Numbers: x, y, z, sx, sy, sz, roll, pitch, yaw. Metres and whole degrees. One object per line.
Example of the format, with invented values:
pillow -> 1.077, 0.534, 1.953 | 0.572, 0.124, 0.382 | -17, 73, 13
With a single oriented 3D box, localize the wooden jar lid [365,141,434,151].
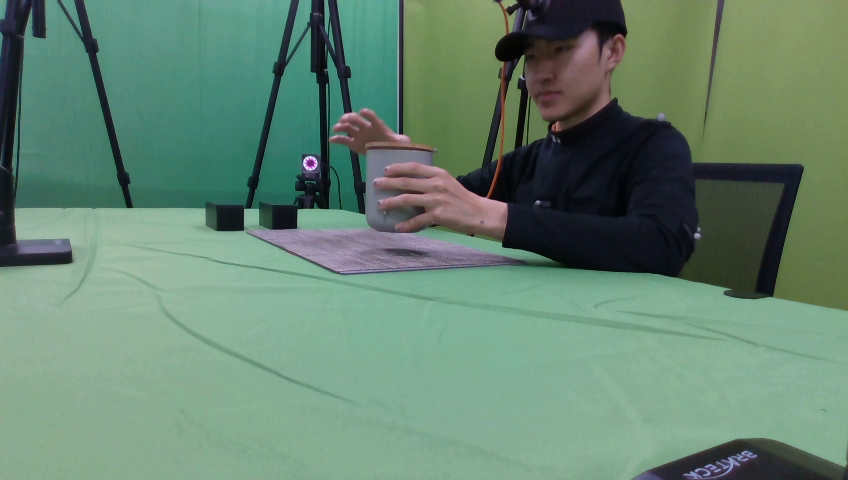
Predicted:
wooden jar lid -> -0.039, -0.140, 0.944 | 0.108, 0.020, 0.108 | 3, 2, 0

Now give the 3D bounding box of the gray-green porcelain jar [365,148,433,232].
gray-green porcelain jar -> -0.039, -0.078, 0.951 | 0.106, 0.126, 0.106 | 1, 5, 0
